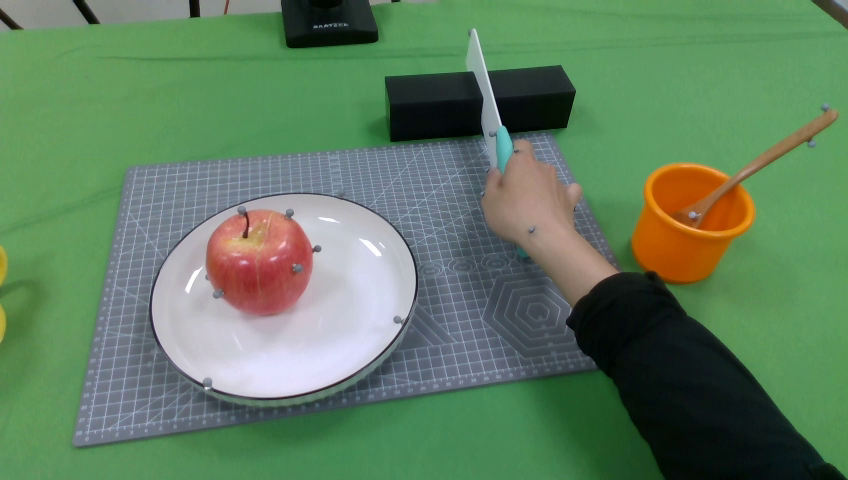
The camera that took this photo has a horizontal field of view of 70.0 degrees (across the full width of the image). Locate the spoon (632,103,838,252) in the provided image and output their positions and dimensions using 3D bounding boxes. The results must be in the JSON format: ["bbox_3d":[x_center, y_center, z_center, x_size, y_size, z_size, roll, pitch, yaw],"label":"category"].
[{"bbox_3d":[0.267,-0.052,0.527,0.022,0.194,0.041,28,31,-40],"label":"spoon"}]

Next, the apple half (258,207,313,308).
[{"bbox_3d":[-0.104,0.016,0.481,0.033,0.082,0.080,-1,49,4],"label":"apple half"}]

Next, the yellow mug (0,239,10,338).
[{"bbox_3d":[-0.376,0.045,0.461,0.099,0.064,0.130,20,50,14],"label":"yellow mug"}]

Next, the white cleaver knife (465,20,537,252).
[{"bbox_3d":[0.073,-0.111,0.616,0.021,0.066,0.283,-6,59,-4],"label":"white cleaver knife"}]

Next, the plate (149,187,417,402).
[{"bbox_3d":[-0.110,0.040,0.495,0.209,0.038,0.207,2,49,-2],"label":"plate"}]

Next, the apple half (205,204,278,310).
[{"bbox_3d":[-0.143,0.014,0.481,0.053,0.075,0.080,1,51,4],"label":"apple half"}]
